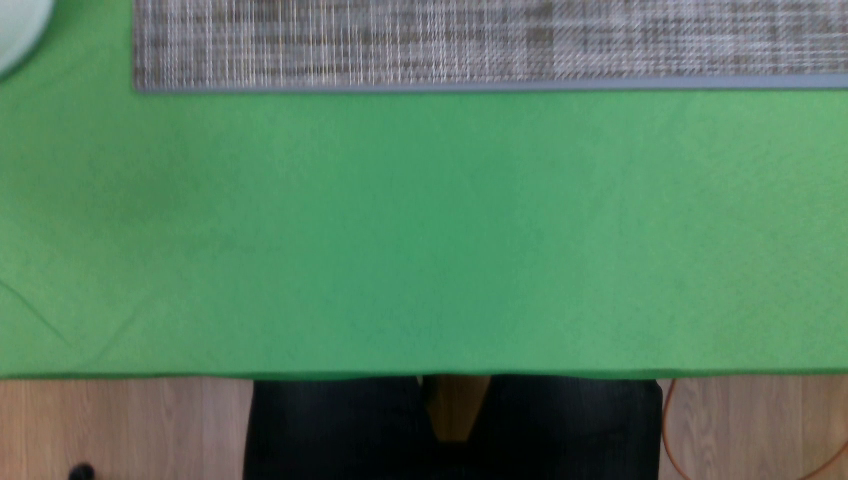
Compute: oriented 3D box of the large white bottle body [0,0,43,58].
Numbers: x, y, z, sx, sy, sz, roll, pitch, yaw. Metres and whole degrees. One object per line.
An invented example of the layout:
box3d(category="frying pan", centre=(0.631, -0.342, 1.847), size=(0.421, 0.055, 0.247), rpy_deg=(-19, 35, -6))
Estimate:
box3d(category="large white bottle body", centre=(-0.264, -0.150, 0.238), size=(0.130, 0.184, 0.130), rpy_deg=(0, 89, 0))
